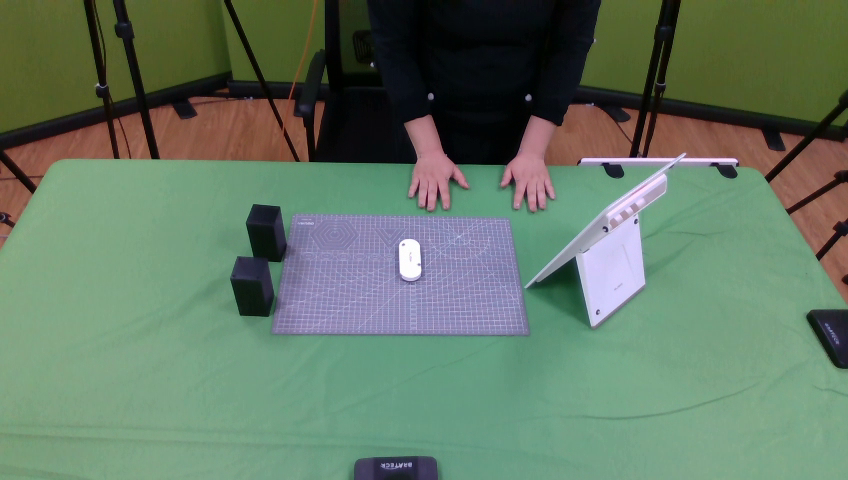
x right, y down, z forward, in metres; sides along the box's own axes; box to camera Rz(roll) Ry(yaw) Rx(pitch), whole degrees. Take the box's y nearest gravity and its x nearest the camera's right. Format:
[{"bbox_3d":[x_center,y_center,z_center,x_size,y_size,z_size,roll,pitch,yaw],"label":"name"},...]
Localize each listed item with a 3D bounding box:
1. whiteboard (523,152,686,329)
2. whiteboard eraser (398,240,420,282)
[{"bbox_3d":[0.346,0.024,1.047,0.217,0.306,0.143,-30,74,-29],"label":"whiteboard"},{"bbox_3d":[-0.029,0.039,1.156,0.041,0.019,0.100,0,45,-3],"label":"whiteboard eraser"}]
